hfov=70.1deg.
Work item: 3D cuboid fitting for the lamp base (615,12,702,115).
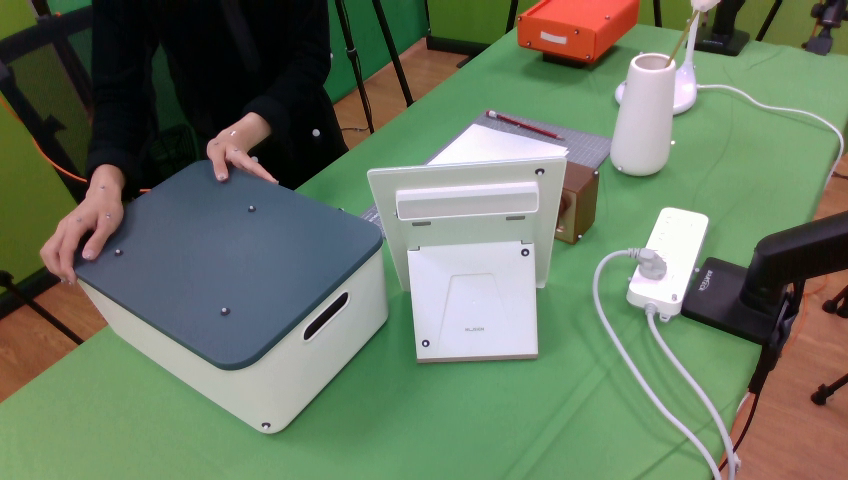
[{"bbox_3d":[0.484,-0.364,1.211,0.180,0.181,0.159,-15,41,-14],"label":"lamp base"}]

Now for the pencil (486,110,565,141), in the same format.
[{"bbox_3d":[0.203,-0.232,1.226,0.192,0.012,0.012,29,52,33],"label":"pencil"}]

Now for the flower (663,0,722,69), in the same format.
[{"bbox_3d":[0.379,-0.261,0.965,0.044,0.362,0.038,21,53,5],"label":"flower"}]

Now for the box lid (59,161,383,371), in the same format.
[{"bbox_3d":[-0.262,0.009,0.777,0.369,0.015,0.264,21,48,29],"label":"box lid"}]

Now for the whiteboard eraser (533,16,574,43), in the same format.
[{"bbox_3d":[0.305,-0.493,1.423,0.055,0.042,0.113,26,43,25],"label":"whiteboard eraser"}]

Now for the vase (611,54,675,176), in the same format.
[{"bbox_3d":[0.377,-0.209,1.031,0.098,0.201,0.097,-3,40,3],"label":"vase"}]

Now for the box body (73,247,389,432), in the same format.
[{"bbox_3d":[-0.255,0.065,0.827,0.361,0.161,0.255,21,48,29],"label":"box body"}]

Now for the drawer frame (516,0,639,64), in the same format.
[{"bbox_3d":[0.356,-0.507,1.410,0.200,0.083,0.214,25,51,32],"label":"drawer frame"}]

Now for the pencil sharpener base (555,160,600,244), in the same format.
[{"bbox_3d":[0.228,-0.057,0.945,0.061,0.107,0.077,24,50,31],"label":"pencil sharpener base"}]

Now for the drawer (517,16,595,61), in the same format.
[{"bbox_3d":[0.353,-0.505,1.404,0.193,0.073,0.212,25,50,33],"label":"drawer"}]

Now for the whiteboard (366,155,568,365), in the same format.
[{"bbox_3d":[0.059,0.049,0.738,0.217,0.307,0.143,-3,60,5],"label":"whiteboard"}]

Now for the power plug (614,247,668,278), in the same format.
[{"bbox_3d":[0.306,0.031,0.851,0.072,0.053,0.035,24,49,33],"label":"power plug"}]

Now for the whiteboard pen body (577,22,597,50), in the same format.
[{"bbox_3d":[0.372,-0.468,1.390,0.017,0.017,0.141,14,47,23],"label":"whiteboard pen body"}]

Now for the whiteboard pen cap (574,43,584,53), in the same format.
[{"bbox_3d":[0.346,-0.430,1.350,0.018,0.018,0.033,15,37,24],"label":"whiteboard pen cap"}]

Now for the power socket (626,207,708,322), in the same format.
[{"bbox_3d":[0.359,0.025,0.886,0.072,0.033,0.227,16,46,26],"label":"power socket"}]

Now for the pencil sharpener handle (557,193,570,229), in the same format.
[{"bbox_3d":[0.195,-0.038,0.908,0.035,0.068,0.031,24,50,30],"label":"pencil sharpener handle"}]
